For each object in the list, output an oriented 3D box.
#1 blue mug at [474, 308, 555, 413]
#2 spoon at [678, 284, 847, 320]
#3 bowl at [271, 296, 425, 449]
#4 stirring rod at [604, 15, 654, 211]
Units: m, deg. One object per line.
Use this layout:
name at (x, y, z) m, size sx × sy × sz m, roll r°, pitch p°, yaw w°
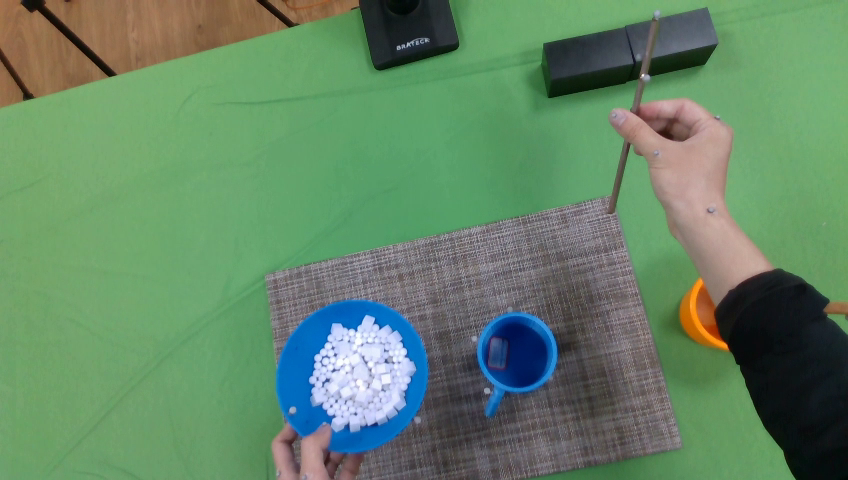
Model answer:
blue mug at (0.092, 0.137, 0.669) m, size 0.082 × 0.106 × 0.116 m, roll 25°, pitch 82°, yaw 12°
spoon at (0.360, 0.066, 0.633) m, size 0.022 × 0.193 × 0.041 m, roll 19°, pitch 75°, yaw -34°
bowl at (-0.072, 0.141, 0.628) m, size 0.151 × 0.077 × 0.150 m, roll 0°, pitch 68°, yaw 1°
stirring rod at (0.183, -0.109, 0.545) m, size 0.006 × 0.014 × 0.177 m, roll 16°, pitch 118°, yaw 22°
